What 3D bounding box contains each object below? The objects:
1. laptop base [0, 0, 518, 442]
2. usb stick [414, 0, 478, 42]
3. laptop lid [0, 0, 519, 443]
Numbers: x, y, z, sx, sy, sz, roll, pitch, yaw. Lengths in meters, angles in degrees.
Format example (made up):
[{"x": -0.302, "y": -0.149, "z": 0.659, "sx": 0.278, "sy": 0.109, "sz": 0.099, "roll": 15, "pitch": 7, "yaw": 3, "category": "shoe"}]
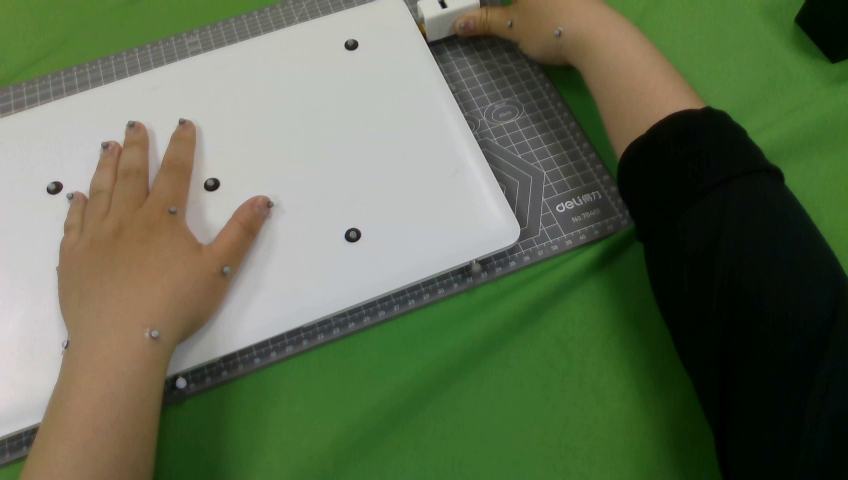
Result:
[{"x": -0.142, "y": -0.033, "z": 0.417, "sx": 0.354, "sy": 0.023, "sz": 0.233, "roll": -20, "pitch": 68, "yaw": -7, "category": "laptop base"}, {"x": 0.010, "y": -0.171, "z": 0.464, "sx": 0.059, "sy": 0.027, "sz": 0.021, "roll": -21, "pitch": 59, "yaw": -1, "category": "usb stick"}, {"x": -0.141, "y": -0.036, "z": 0.407, "sx": 0.357, "sy": 0.013, "sz": 0.239, "roll": -19, "pitch": 67, "yaw": -6, "category": "laptop lid"}]
